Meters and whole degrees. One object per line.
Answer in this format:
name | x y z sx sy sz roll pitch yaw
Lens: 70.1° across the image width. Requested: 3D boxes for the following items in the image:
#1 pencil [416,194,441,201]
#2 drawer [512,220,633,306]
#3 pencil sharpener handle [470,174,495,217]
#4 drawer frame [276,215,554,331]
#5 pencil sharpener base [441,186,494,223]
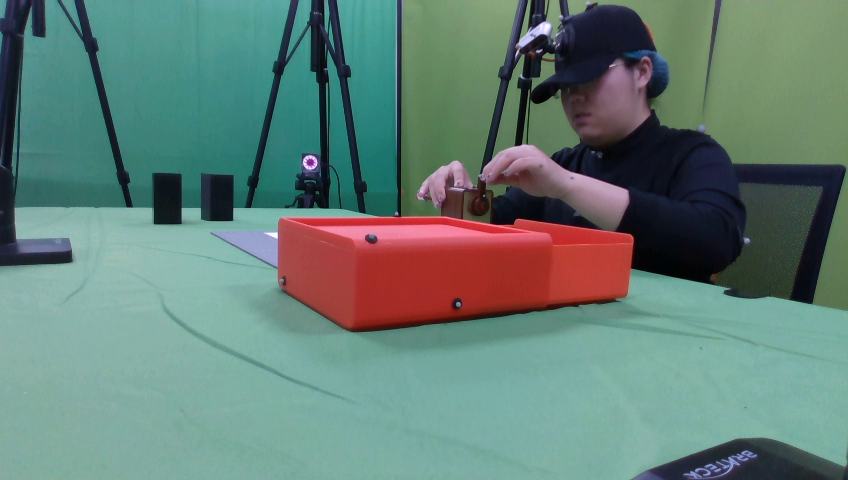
pencil | 0.036 -0.070 1.056 0.012 0.012 0.193 -1 7 -30
drawer | 0.085 0.022 0.674 0.213 0.073 0.193 -2 9 -32
pencil sharpener handle | 0.095 -0.068 0.937 0.036 0.067 0.030 -1 9 -27
drawer frame | -0.015 0.022 0.610 0.215 0.082 0.200 -2 9 -32
pencil sharpener base | 0.070 -0.032 0.988 0.061 0.107 0.076 -1 9 -27
